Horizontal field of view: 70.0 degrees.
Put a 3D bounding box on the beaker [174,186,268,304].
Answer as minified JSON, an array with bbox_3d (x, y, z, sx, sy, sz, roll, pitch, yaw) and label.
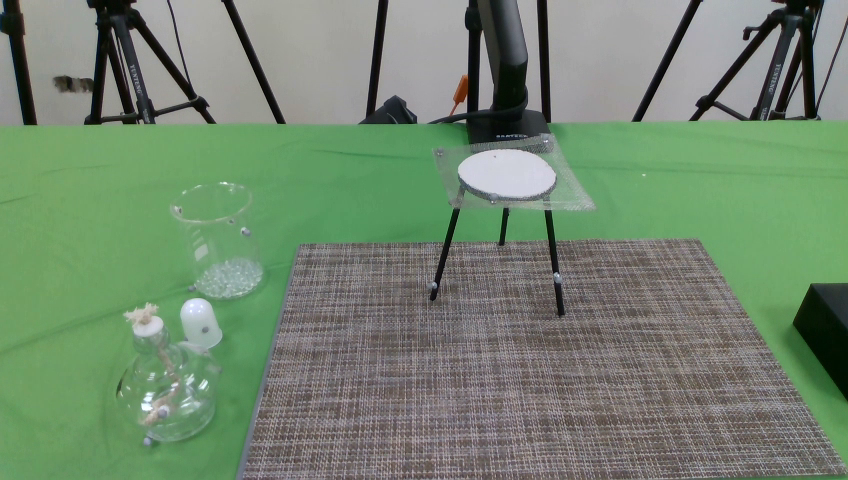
[{"bbox_3d":[-0.197,0.006,0.605,0.074,0.101,0.083,8,36,11],"label":"beaker"}]

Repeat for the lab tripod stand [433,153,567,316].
[{"bbox_3d":[0.081,-0.005,0.582,0.148,0.132,0.147,1,35,-1],"label":"lab tripod stand"}]

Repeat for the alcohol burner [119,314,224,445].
[{"bbox_3d":[-0.195,0.100,0.461,0.078,0.120,0.077,1,37,-1],"label":"alcohol burner"}]

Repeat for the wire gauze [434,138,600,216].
[{"bbox_3d":[0.077,-0.056,0.538,0.125,0.011,0.120,-3,37,-6],"label":"wire gauze"}]

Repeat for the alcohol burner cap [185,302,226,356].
[{"bbox_3d":[-0.201,0.079,0.552,0.034,0.048,0.033,0,36,0],"label":"alcohol burner cap"}]
